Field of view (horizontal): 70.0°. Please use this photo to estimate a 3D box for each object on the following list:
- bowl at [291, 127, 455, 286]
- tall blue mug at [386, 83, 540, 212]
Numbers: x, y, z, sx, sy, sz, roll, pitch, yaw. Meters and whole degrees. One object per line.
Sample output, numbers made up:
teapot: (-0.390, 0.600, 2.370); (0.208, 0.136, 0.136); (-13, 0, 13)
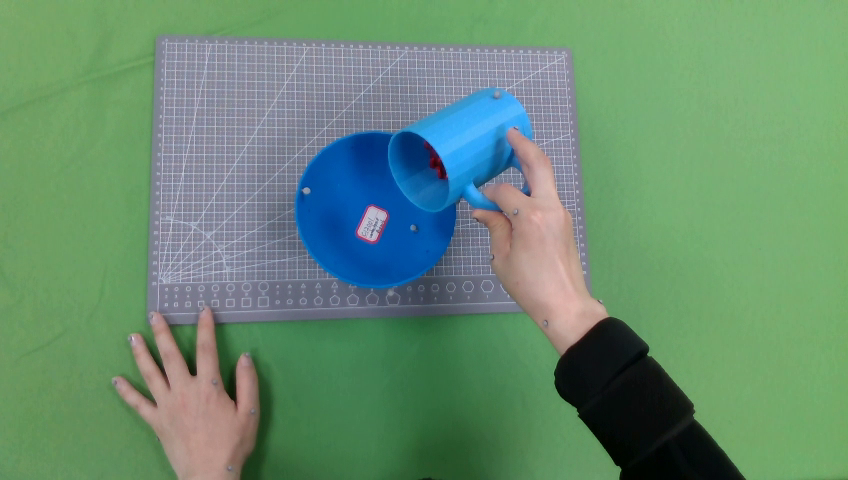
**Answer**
bowl: (-0.050, -0.025, 0.592); (0.152, 0.077, 0.151); (2, 80, -8)
tall blue mug: (0.043, -0.078, 0.522); (0.108, 0.106, 0.078); (-34, 129, -32)
